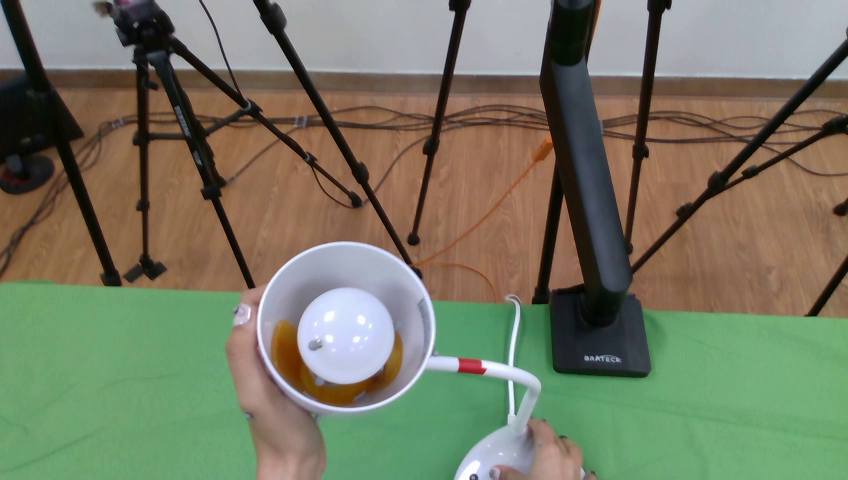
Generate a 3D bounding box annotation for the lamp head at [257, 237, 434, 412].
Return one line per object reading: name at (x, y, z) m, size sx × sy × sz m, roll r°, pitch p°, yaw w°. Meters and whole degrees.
lamp head at (-0.055, 0.071, 0.428) m, size 0.112 × 0.123 × 0.111 m, roll 3°, pitch 64°, yaw -7°

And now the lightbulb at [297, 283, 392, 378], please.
lightbulb at (-0.055, 0.065, 0.404) m, size 0.060 × 0.108 × 0.059 m, roll 5°, pitch 69°, yaw -13°

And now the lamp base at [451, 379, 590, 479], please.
lamp base at (0.104, 0.231, 0.622) m, size 0.161 × 0.182 × 0.177 m, roll -9°, pitch 52°, yaw -4°
